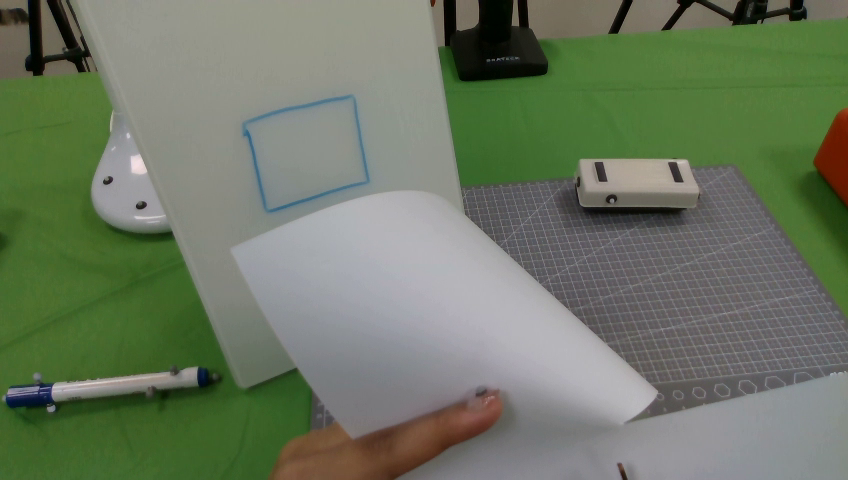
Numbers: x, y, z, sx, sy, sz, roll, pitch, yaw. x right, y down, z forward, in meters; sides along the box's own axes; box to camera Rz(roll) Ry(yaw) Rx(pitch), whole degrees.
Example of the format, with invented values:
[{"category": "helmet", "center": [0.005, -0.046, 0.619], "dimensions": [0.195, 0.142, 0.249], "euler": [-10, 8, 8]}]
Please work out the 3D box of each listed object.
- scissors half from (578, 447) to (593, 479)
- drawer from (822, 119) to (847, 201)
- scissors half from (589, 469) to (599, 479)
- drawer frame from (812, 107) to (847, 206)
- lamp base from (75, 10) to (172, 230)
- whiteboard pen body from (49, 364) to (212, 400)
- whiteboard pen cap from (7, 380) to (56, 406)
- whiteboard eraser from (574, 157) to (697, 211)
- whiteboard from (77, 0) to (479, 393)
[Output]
[{"category": "scissors half", "center": [0.099, 0.161, 0.238], "dimensions": [0.013, 0.040, 0.175], "euler": [-26, 87, 8]}, {"category": "drawer", "center": [0.519, -0.034, 0.555], "dimensions": [0.194, 0.074, 0.209], "euler": [-3, 44, 0]}, {"category": "scissors half", "center": [0.100, 0.157, 0.260], "dimensions": [0.013, 0.176, 0.040], "euler": [-27, 26, 3]}, {"category": "drawer frame", "center": [0.518, -0.040, 0.559], "dimensions": [0.202, 0.083, 0.211], "euler": [-4, 44, -1]}, {"category": "lamp base", "center": [-0.284, -0.127, 0.603], "dimensions": [0.178, 0.182, 0.160], "euler": [25, 51, 28]}, {"category": "whiteboard pen body", "center": [-0.240, 0.112, 0.474], "dimensions": [0.141, 0.017, 0.017], "euler": [-5, 45, -8]}, {"category": "whiteboard pen cap", "center": [-0.299, 0.118, 0.466], "dimensions": [0.033, 0.018, 0.018], "euler": [-3, 44, -10]}, {"category": "whiteboard eraser", "center": [0.210, -0.055, 0.610], "dimensions": [0.112, 0.042, 0.055], "euler": [0, 44, 2]}, {"category": "whiteboard", "center": [-0.101, -0.073, 0.496], "dimensions": [0.217, 0.308, 0.142], "euler": [-20, 28, -16]}]
